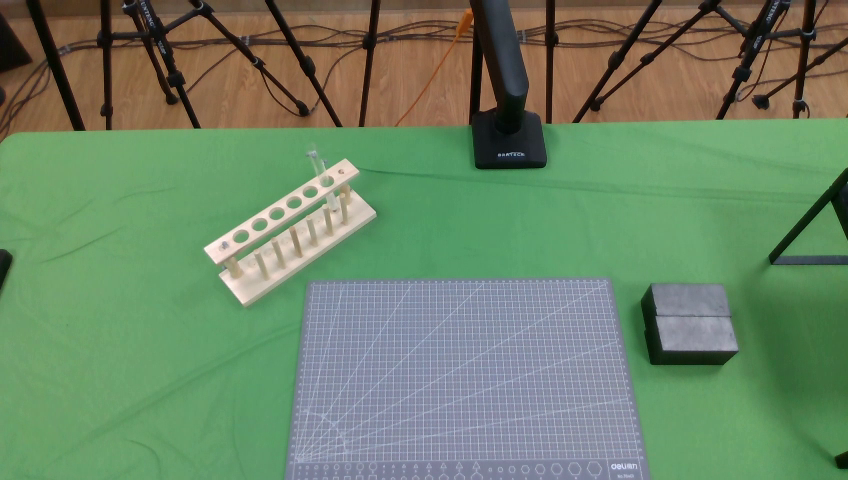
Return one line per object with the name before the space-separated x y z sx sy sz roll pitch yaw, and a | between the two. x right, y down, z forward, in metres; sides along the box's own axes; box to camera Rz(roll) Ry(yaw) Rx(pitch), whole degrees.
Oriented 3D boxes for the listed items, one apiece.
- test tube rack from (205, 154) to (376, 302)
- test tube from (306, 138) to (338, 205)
test tube rack | -0.187 -0.020 0.891 0.242 0.086 0.066 -37 65 -21
test tube | -0.146 -0.095 0.880 0.017 0.151 0.017 -2 60 4
